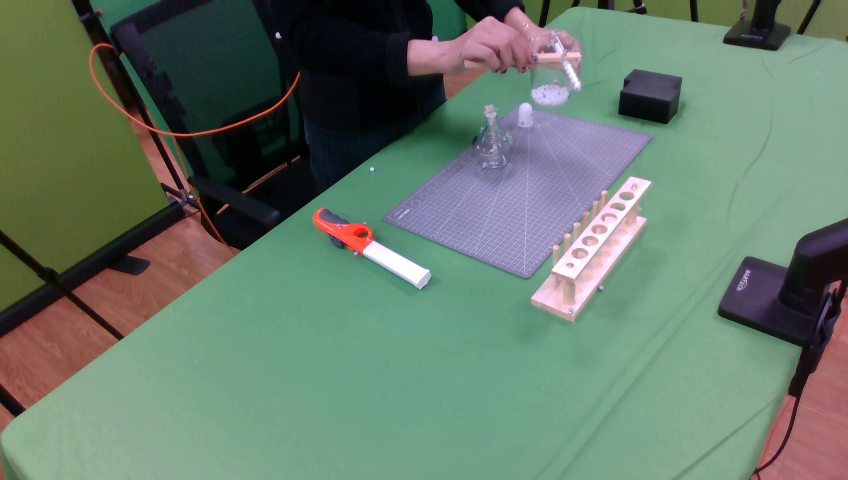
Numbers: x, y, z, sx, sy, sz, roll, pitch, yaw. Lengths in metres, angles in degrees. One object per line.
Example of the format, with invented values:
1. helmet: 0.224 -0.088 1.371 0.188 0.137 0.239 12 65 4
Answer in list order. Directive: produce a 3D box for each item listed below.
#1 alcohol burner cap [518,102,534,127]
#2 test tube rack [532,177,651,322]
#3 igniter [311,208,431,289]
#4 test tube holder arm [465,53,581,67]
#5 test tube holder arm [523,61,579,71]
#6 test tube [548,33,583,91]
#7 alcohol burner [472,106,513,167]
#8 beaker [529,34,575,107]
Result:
1. alcohol burner cap: 0.205 -0.255 1.223 0.034 0.048 0.033 -6 41 5
2. test tube rack: 0.248 0.003 0.883 0.066 0.085 0.243 22 49 32
3. igniter: -0.096 0.008 0.985 0.274 0.025 0.057 28 63 36
4. test tube holder arm: 0.146 -0.264 0.887 0.179 0.013 0.015 -5 48 -13
5. test tube holder arm: 0.189 -0.263 0.903 0.088 0.010 0.015 0 47 -18
6. test tube: 0.212 -0.269 0.907 0.017 0.017 0.149 -9 47 0
7. alcohol burner: 0.125 -0.194 1.111 0.078 0.119 0.077 -5 42 5
8. beaker: 0.214 -0.280 1.016 0.074 0.101 0.083 1 46 10
